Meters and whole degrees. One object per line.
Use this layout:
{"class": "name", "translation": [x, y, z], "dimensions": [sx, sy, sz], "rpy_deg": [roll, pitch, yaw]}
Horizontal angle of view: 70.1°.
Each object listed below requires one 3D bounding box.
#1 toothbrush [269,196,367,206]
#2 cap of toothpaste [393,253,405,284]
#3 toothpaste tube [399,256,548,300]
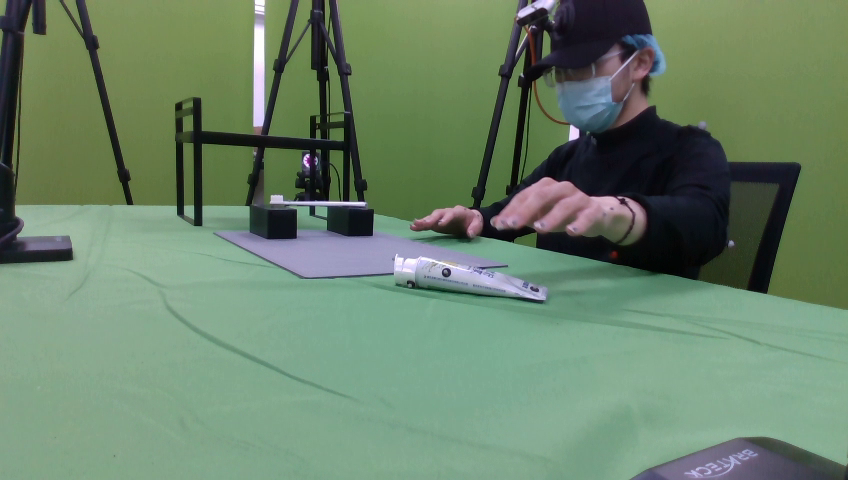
{"class": "toothbrush", "translation": [-0.187, -0.069, 1.088], "dimensions": [0.183, 0.016, 0.014], "rpy_deg": [0, -4, -28]}
{"class": "cap of toothpaste", "translation": [-0.028, 0.032, 0.678], "dimensions": [0.011, 0.037, 0.037], "rpy_deg": [1, 8, 4]}
{"class": "toothpaste tube", "translation": [0.051, 0.044, 0.659], "dimensions": [0.165, 0.034, 0.055], "rpy_deg": [8, 17, 12]}
